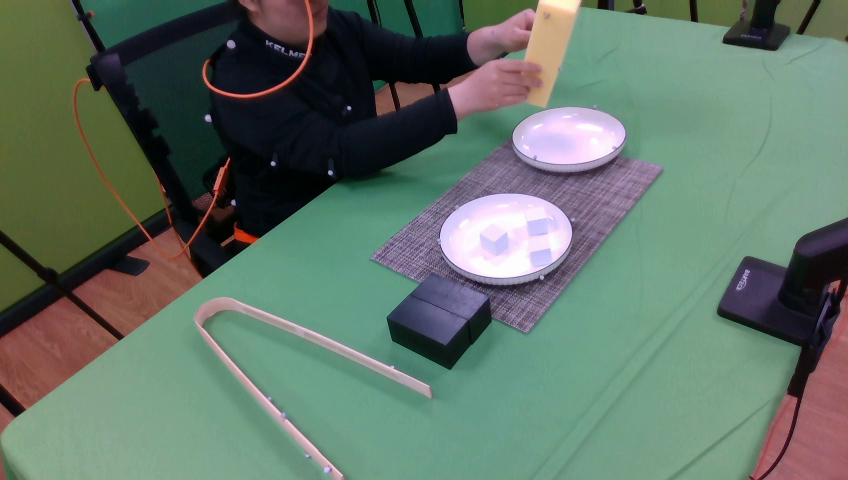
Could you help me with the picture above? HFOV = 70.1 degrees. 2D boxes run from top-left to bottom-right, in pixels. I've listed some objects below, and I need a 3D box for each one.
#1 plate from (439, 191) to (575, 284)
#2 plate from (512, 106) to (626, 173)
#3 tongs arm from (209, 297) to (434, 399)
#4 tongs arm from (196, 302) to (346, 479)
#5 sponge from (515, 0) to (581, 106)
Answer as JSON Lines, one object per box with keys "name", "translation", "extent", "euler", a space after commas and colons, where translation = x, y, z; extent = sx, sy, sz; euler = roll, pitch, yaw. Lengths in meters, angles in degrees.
{"name": "plate", "translation": [0.129, -0.001, 0.942], "extent": [0.207, 0.039, 0.206], "euler": [-5, 40, 5]}
{"name": "plate", "translation": [0.269, -0.185, 1.132], "extent": [0.209, 0.038, 0.208], "euler": [-5, 40, 5]}
{"name": "tongs arm", "translation": [-0.153, 0.143, 0.837], "extent": [0.385, 0.028, 0.028], "euler": [16, 49, 28]}
{"name": "tongs arm", "translation": [-0.206, 0.185, 0.791], "extent": [0.381, 0.026, 0.051], "euler": [28, 52, 37]}
{"name": "sponge", "translation": [0.217, -0.349, 1.044], "extent": [0.061, 0.207, 0.118], "euler": [19, 60, 8]}
